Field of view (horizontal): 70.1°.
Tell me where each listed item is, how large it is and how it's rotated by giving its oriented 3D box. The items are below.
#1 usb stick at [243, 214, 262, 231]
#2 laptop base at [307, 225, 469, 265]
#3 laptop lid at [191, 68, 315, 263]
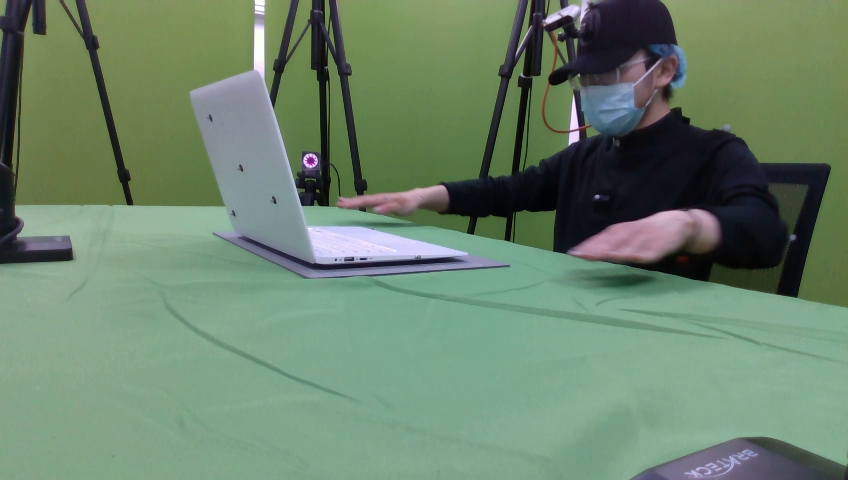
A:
[{"bbox_3d":[-0.297,-0.030,1.053,0.021,0.027,0.059,-1,10,-31],"label":"usb stick"},{"bbox_3d":[-0.125,0.005,0.936,0.237,0.023,0.352,2,7,-33],"label":"laptop base"},{"bbox_3d":[-0.250,-0.102,0.838,0.013,0.242,0.355,-22,20,-29],"label":"laptop lid"}]
